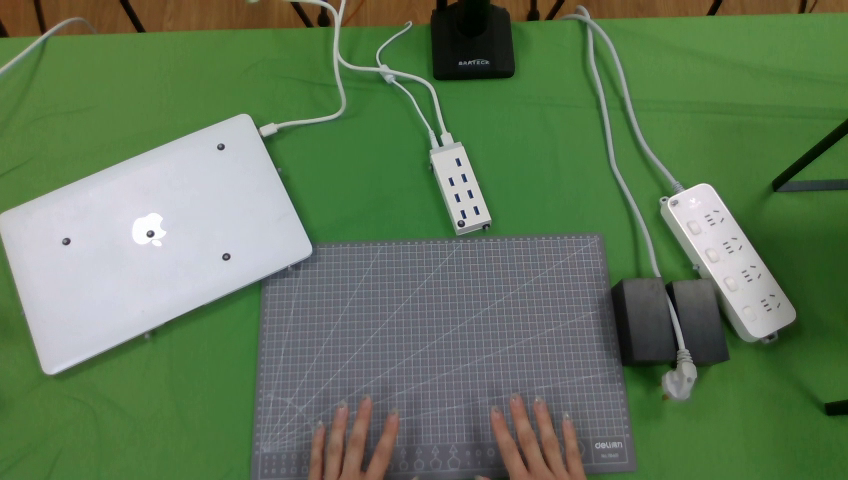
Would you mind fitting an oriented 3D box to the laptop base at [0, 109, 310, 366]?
[{"bbox_3d":[-0.353,-0.014,0.796,0.354,0.023,0.234,-25,76,-9],"label":"laptop base"}]

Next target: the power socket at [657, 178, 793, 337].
[{"bbox_3d":[0.387,0.019,0.785,0.072,0.033,0.225,-23,72,-9],"label":"power socket"}]

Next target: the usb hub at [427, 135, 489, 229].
[{"bbox_3d":[0.044,-0.080,0.819,0.049,0.025,0.124,-17,72,-6],"label":"usb hub"}]

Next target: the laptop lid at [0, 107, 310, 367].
[{"bbox_3d":[-0.352,-0.016,0.784,0.357,0.013,0.240,-24,75,-8],"label":"laptop lid"}]

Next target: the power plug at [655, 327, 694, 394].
[{"bbox_3d":[0.297,0.148,0.718,0.035,0.053,0.072,27,53,-8],"label":"power plug"}]
